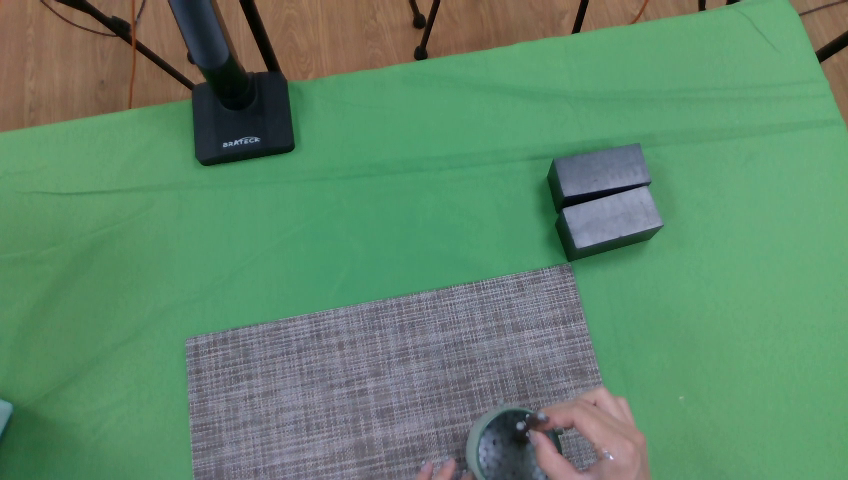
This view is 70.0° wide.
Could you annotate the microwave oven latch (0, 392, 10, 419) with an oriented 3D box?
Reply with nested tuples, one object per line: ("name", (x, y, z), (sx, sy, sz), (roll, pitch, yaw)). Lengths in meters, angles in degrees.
("microwave oven latch", (-0.470, 0.197, 0.636), (0.030, 0.029, 0.079), (19, 75, 7))

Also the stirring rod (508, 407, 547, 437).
("stirring rod", (0.090, 0.164, 0.540), (0.014, 0.177, 0.006), (15, 68, 8))

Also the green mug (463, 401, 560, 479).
("green mug", (0.093, 0.217, 0.590), (0.092, 0.105, 0.124), (-27, 74, -7))
